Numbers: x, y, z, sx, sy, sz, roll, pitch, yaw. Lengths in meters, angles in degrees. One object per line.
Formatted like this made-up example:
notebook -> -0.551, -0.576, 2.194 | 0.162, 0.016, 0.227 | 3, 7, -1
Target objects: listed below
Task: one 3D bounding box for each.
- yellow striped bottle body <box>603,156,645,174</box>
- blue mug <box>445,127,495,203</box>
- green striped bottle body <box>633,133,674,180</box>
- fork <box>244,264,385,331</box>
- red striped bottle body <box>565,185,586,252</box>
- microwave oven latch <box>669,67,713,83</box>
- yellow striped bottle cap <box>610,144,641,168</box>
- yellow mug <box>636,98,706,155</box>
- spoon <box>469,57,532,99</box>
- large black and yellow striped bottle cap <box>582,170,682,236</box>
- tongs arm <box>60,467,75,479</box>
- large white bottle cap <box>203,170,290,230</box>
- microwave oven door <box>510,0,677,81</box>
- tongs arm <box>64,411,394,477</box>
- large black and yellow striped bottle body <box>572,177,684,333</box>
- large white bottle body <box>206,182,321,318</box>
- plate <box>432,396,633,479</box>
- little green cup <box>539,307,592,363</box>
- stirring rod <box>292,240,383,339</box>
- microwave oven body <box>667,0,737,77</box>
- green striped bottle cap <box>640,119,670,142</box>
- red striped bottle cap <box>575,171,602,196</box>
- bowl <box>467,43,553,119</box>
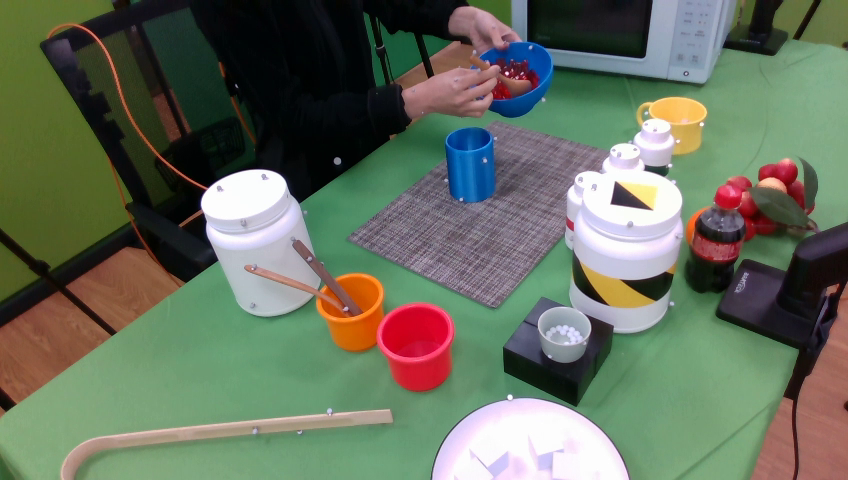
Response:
yellow striped bottle body -> 0.313, -0.089, 0.956 | 0.063, 0.121, 0.062 | -4, 40, 4
blue mug -> 0.081, -0.140, 1.059 | 0.082, 0.106, 0.116 | -4, 40, 5
green striped bottle body -> 0.376, -0.135, 1.001 | 0.063, 0.120, 0.063 | -5, 40, 5
fork -> -0.142, 0.078, 0.806 | 0.209, 0.018, 0.028 | 30, 34, -24
red striped bottle body -> 0.247, -0.041, 0.910 | 0.063, 0.120, 0.062 | -3, 39, 3
microwave oven latch -> 0.556, -0.348, 1.261 | 0.078, 0.029, 0.030 | 16, 46, 27
yellow striped bottle cap -> 0.307, -0.128, 0.923 | 0.044, 0.019, 0.044 | -5, 39, 5
yellow mug -> 0.453, -0.217, 1.128 | 0.100, 0.064, 0.129 | -34, 45, -27
spoon -> 0.124, -0.262, 0.980 | 0.195, 0.041, 0.021 | 10, 37, -51
large black and yellow striped bottle cap -> 0.252, -0.048, 0.735 | 0.115, 0.019, 0.114 | -3, 40, 3
tongs arm -> -0.239, 0.301, 0.648 | 0.386, 0.028, 0.028 | 6, 49, 16
large white bottle cap -> -0.241, -0.057, 0.822 | 0.115, 0.018, 0.114 | -4, 40, 4
microwave oven door -> 0.354, -0.478, 1.291 | 0.353, 0.245, 0.039 | 15, 45, 25
tongs arm -> -0.228, 0.241, 0.715 | 0.385, 0.026, 0.050 | -5, 43, 4
large black and yellow striped bottle body -> 0.262, 0.017, 0.788 | 0.131, 0.185, 0.130 | -5, 40, 4
large white bottle body -> -0.233, 0.008, 0.876 | 0.130, 0.185, 0.130 | -5, 40, 4
plate -> 0.112, 0.261, 0.634 | 0.209, 0.038, 0.208 | -5, 40, 4
little green cup -> 0.167, 0.114, 0.721 | 0.061, 0.039, 0.061 | -4, 43, 4
stirring rod -> -0.118, 0.068, 0.826 | 0.176, 0.006, 0.014 | 49, 59, -4
microwave oven body -> 0.462, -0.552, 1.369 | 0.439, 0.261, 0.326 | 15, 45, 26
green striped bottle cap -> 0.370, -0.174, 0.968 | 0.044, 0.020, 0.044 | -3, 41, 3
red striped bottle cap -> 0.242, -0.081, 0.876 | 0.044, 0.018, 0.044 | -5, 44, 5
bowl -> 0.157, -0.269, 1.072 | 0.151, 0.077, 0.150 | -9, 53, 12
